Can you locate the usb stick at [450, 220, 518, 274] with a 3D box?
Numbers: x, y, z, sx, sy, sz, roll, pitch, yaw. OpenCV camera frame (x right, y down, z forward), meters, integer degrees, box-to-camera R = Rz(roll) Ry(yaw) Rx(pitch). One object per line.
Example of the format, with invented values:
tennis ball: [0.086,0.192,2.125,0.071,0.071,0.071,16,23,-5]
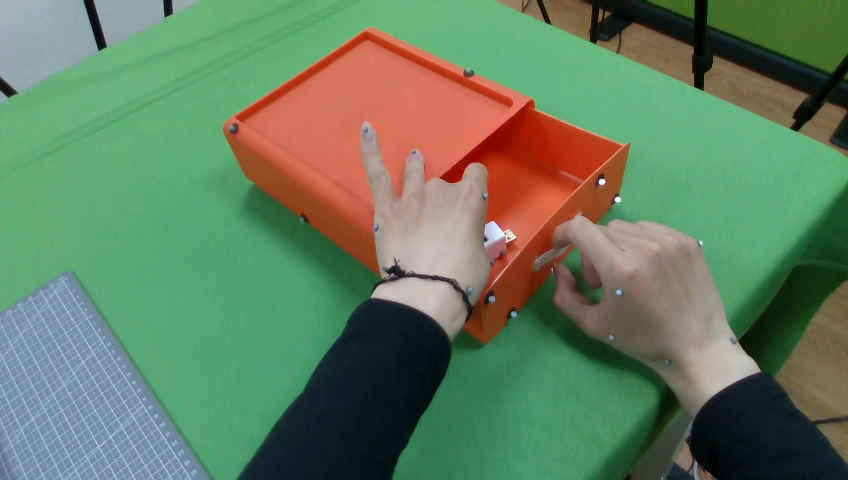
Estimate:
usb stick: [0.052,0.003,0.509,0.059,0.027,0.021,-25,52,-14]

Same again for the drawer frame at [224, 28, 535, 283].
drawer frame: [-0.039,-0.091,0.571,0.211,0.083,0.201,32,62,30]

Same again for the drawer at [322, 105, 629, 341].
drawer: [0.033,-0.045,0.526,0.210,0.074,0.194,32,62,30]
